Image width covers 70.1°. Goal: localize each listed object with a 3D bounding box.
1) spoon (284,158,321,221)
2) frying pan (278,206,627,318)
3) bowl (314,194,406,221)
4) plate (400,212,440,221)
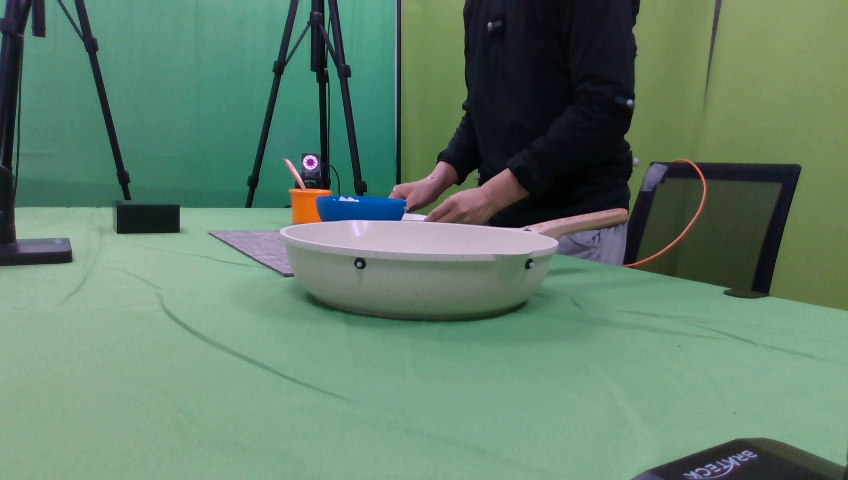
[{"bbox_3d":[-0.269,-0.113,1.336,0.042,0.193,0.021,-3,-35,-43],"label":"spoon"},{"bbox_3d":[0.079,0.002,0.705,0.490,0.102,0.305,-12,15,-33],"label":"frying pan"},{"bbox_3d":[-0.105,-0.032,0.991,0.151,0.077,0.151,2,7,0],"label":"bowl"},{"bbox_3d":[-0.073,-0.034,1.196,0.208,0.039,0.207,4,6,0],"label":"plate"}]
